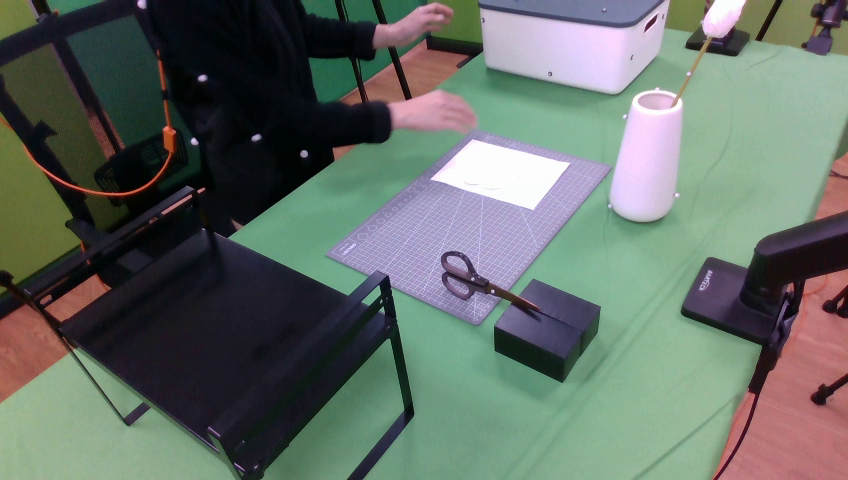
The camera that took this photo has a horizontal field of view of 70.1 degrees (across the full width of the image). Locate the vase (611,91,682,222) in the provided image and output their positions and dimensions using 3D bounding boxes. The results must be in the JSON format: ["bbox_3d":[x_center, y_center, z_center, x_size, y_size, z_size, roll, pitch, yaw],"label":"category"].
[{"bbox_3d":[0.348,-0.125,0.935,0.098,0.201,0.097,-3,40,3],"label":"vase"}]

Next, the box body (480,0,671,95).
[{"bbox_3d":[0.339,-0.480,1.381,0.361,0.161,0.255,22,48,30],"label":"box body"}]

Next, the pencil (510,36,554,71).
[{"bbox_3d":[0.263,-0.453,1.469,0.012,0.012,0.194,25,52,32],"label":"pencil"}]

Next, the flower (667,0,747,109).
[{"bbox_3d":[0.354,-0.187,0.879,0.038,0.362,0.044,31,48,14],"label":"flower"}]

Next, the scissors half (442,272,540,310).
[{"bbox_3d":[0.089,0.074,0.832,0.013,0.040,0.173,-24,23,-38],"label":"scissors half"}]

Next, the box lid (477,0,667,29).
[{"bbox_3d":[0.332,-0.535,1.333,0.368,0.015,0.264,22,48,31],"label":"box lid"}]

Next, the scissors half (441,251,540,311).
[{"bbox_3d":[0.087,0.056,0.824,0.013,0.040,0.173,-30,44,-35],"label":"scissors half"}]
